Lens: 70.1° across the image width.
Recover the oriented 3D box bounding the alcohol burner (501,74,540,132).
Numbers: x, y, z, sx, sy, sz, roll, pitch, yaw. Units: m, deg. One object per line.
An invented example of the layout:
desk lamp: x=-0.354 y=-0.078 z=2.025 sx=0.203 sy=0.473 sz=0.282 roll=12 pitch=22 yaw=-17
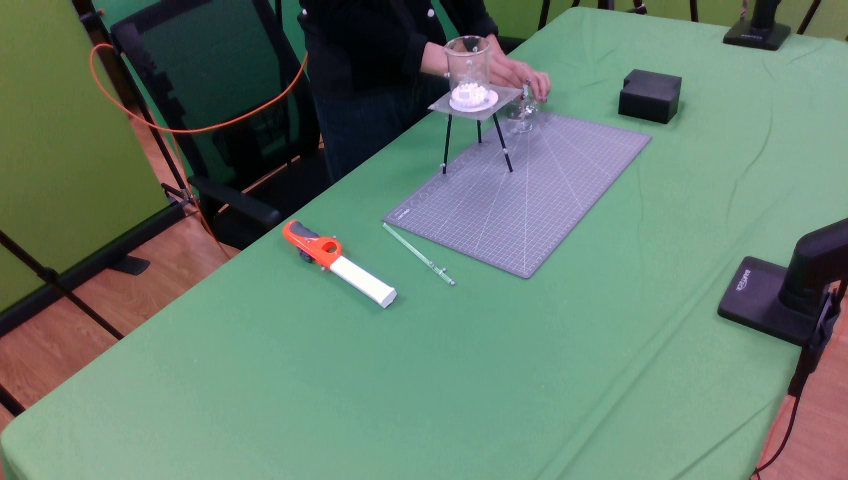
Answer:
alcohol burner: x=0.190 y=-0.275 z=1.194 sx=0.078 sy=0.119 sz=0.077 roll=-4 pitch=42 yaw=4

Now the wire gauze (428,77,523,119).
wire gauze: x=0.090 y=-0.249 z=1.063 sx=0.120 sy=0.011 sz=0.125 roll=24 pitch=48 yaw=30

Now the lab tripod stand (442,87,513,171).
lab tripod stand: x=0.097 y=-0.200 z=1.108 sx=0.148 sy=0.132 sz=0.147 roll=-4 pitch=40 yaw=4

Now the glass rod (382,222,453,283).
glass rod: x=-0.014 y=0.016 z=0.976 sx=0.008 sy=0.008 sz=0.198 roll=-30 pitch=44 yaw=-22

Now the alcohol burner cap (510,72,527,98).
alcohol burner cap: x=0.184 y=-0.302 z=1.171 sx=0.034 sy=0.048 sz=0.033 roll=-2 pitch=41 yaw=2

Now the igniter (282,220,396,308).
igniter: x=-0.146 y=0.032 z=0.966 sx=0.274 sy=0.025 sz=0.057 roll=30 pitch=64 yaw=37

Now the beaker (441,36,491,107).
beaker: x=0.074 y=-0.287 z=1.036 sx=0.084 sy=0.101 sz=0.073 roll=-1 pitch=41 yaw=8
